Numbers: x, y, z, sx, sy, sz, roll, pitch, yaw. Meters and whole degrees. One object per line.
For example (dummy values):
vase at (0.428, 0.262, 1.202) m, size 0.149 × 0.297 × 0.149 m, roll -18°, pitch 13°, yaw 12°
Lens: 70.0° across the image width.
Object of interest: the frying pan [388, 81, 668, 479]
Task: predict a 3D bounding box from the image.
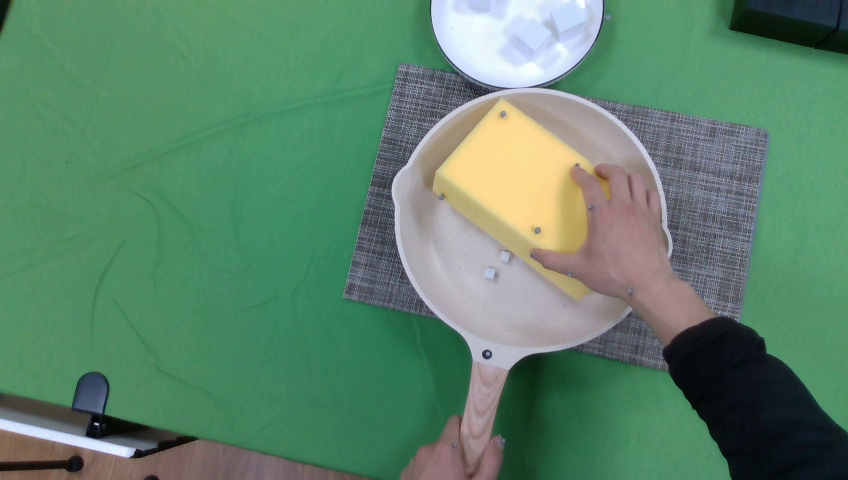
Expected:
frying pan at (0.083, 0.068, 0.655) m, size 0.306 × 0.103 × 0.485 m, roll 15°, pitch 75°, yaw 7°

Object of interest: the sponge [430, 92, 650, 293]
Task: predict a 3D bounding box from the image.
sponge at (0.124, -0.052, 0.669) m, size 0.206 × 0.061 × 0.118 m, roll 37°, pitch 76°, yaw 7°

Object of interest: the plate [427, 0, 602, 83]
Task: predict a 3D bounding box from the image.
plate at (0.108, -0.286, 0.738) m, size 0.207 × 0.039 × 0.207 m, roll 0°, pitch 83°, yaw 4°
